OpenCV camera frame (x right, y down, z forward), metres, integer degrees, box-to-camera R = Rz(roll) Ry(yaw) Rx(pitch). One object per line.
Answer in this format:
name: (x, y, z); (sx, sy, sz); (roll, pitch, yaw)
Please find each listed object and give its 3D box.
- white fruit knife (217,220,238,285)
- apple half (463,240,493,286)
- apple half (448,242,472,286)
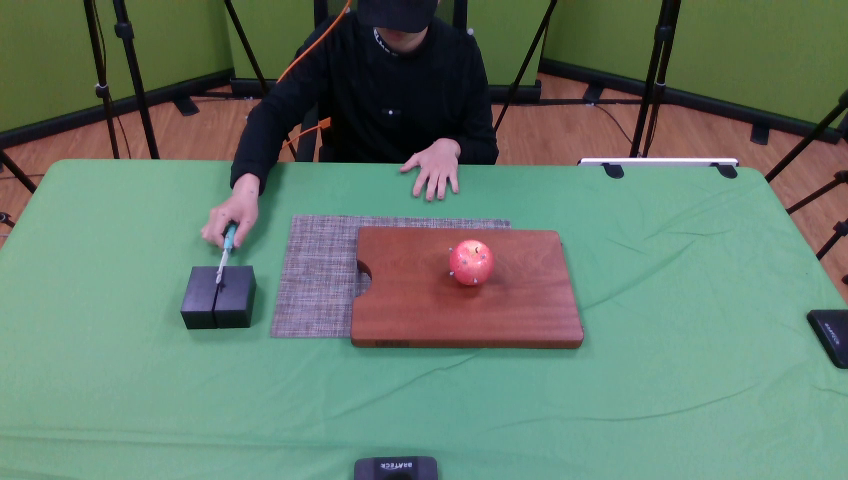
white fruit knife: (-0.362, 0.019, 1.112); (0.016, 0.027, 0.206); (-4, 33, -7)
apple half: (0.097, 0.042, 1.093); (0.053, 0.075, 0.080); (-3, 42, -13)
apple half: (0.059, 0.046, 1.085); (0.033, 0.081, 0.080); (-4, 46, -13)
